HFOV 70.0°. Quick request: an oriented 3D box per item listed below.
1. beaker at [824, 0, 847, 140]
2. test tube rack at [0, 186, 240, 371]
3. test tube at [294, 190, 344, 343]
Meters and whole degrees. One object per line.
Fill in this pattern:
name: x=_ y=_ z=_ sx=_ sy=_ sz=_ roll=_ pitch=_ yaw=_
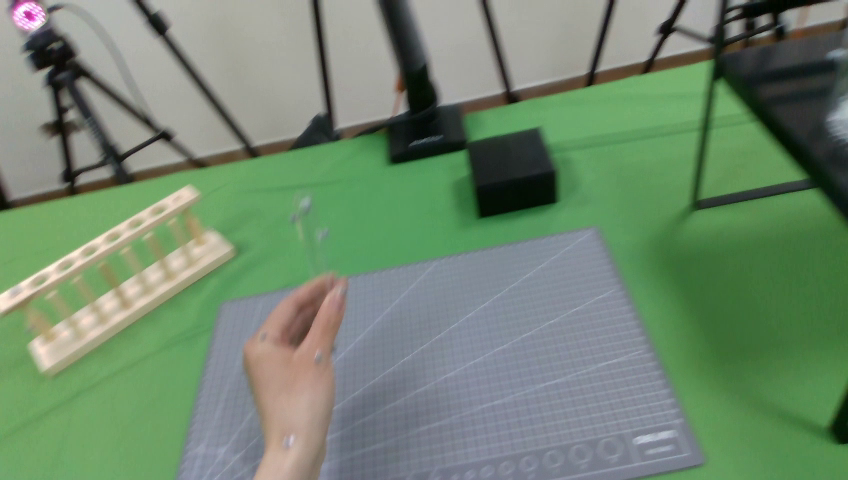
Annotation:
beaker: x=0.332 y=-0.125 z=0.429 sx=0.074 sy=0.101 sz=0.083 roll=-37 pitch=45 yaw=-24
test tube rack: x=-0.356 y=0.039 z=0.729 sx=0.242 sy=0.086 sz=0.066 roll=-37 pitch=46 yaw=-25
test tube: x=-0.084 y=0.027 z=0.497 sx=0.017 sy=0.151 sz=0.017 roll=-4 pitch=34 yaw=3
